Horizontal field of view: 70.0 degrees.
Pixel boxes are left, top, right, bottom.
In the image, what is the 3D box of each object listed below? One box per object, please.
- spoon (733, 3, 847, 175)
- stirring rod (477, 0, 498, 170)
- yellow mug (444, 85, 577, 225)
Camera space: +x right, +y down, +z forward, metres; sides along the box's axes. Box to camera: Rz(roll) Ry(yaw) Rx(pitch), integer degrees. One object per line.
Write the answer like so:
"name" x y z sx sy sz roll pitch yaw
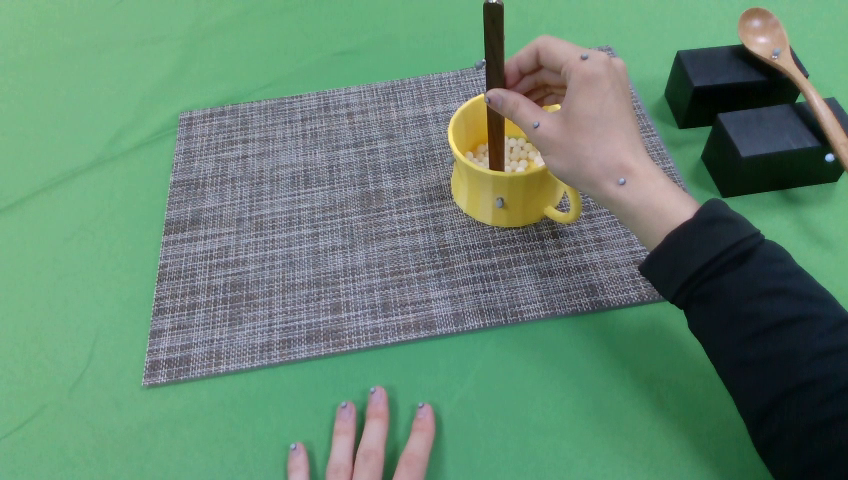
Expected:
"spoon" 0.306 -0.128 0.498 0.041 0.022 0.191 -9 56 -2
"stirring rod" 0.049 -0.103 0.455 0.014 0.178 0.006 12 59 14
"yellow mug" 0.077 -0.063 0.500 0.100 0.064 0.129 -36 60 -19
